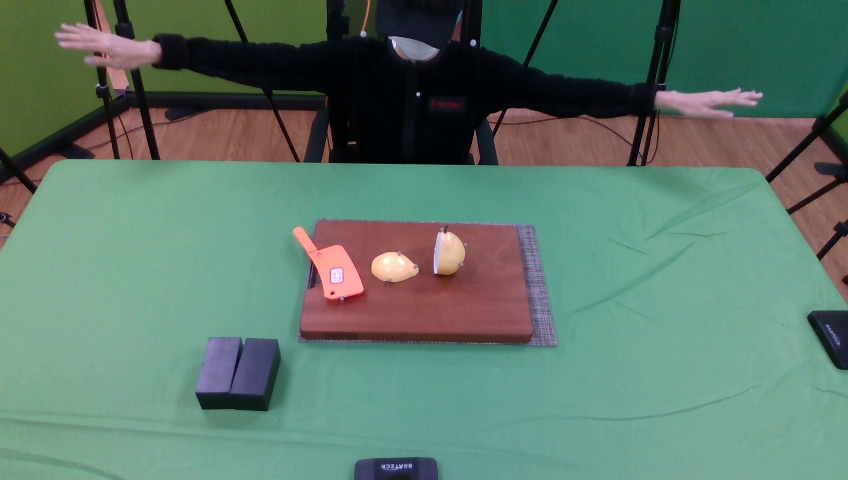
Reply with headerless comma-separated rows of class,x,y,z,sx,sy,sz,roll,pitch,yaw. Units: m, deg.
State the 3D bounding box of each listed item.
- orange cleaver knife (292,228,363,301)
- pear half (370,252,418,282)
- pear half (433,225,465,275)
orange cleaver knife,-0.181,0.037,1.113,0.077,0.012,0.210,-23,49,-19
pear half,-0.056,0.044,1.109,0.088,0.031,0.070,4,52,4
pear half,0.046,0.014,1.089,0.056,0.110,0.076,-3,50,-7
